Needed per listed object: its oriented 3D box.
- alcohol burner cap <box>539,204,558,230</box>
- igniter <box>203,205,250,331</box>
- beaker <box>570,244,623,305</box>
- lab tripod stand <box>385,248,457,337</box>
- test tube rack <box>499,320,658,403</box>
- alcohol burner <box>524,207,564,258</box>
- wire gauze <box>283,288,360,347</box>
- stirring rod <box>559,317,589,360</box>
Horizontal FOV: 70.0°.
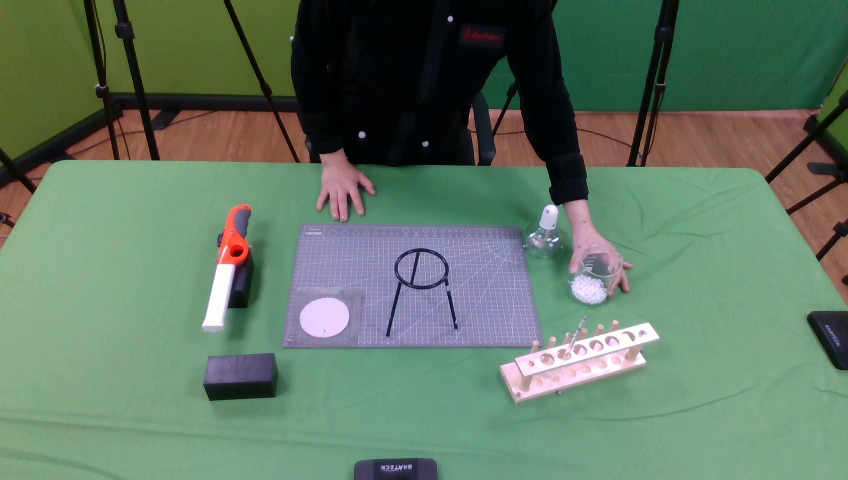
[{"bbox_3d":[0.238,-0.045,1.148,0.034,0.048,0.033,2,43,-1],"label":"alcohol burner cap"},{"bbox_3d":[-0.345,0.039,1.065,0.057,0.025,0.274,2,48,-6],"label":"igniter"},{"bbox_3d":[0.312,0.065,1.103,0.084,0.101,0.073,-12,52,-12],"label":"beaker"},{"bbox_3d":[-0.010,0.087,1.032,0.148,0.132,0.147,1,45,-1],"label":"lab tripod stand"},{"bbox_3d":[0.252,0.187,0.994,0.243,0.085,0.066,-12,48,-15],"label":"test tube rack"},{"bbox_3d":[0.236,-0.021,1.174,0.078,0.120,0.077,1,48,-1],"label":"alcohol burner"},{"bbox_3d":[-0.178,0.132,1.063,0.125,0.011,0.120,2,47,1],"label":"wire gauze"},{"bbox_3d":[0.221,0.155,0.912,0.014,0.177,0.006,5,58,2],"label":"stirring rod"}]
